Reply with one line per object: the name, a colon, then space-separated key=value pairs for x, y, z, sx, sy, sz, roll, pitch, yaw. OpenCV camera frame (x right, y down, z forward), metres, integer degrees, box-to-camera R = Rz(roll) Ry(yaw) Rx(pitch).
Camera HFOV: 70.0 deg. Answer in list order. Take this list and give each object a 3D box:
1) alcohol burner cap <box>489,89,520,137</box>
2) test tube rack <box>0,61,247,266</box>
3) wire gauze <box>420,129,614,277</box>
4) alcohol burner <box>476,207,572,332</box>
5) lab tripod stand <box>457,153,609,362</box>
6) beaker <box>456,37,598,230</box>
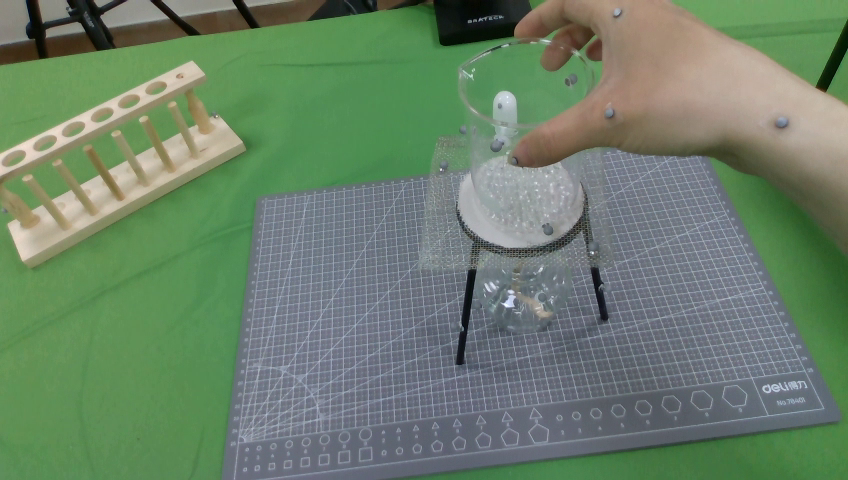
alcohol burner cap: x=0.085 y=-0.136 z=0.637 sx=0.034 sy=0.048 sz=0.033 roll=-4 pitch=53 yaw=6
test tube rack: x=-0.315 y=-0.082 z=0.619 sx=0.242 sy=0.086 sz=0.066 roll=-33 pitch=56 yaw=-18
wire gauze: x=0.062 y=-0.030 z=0.411 sx=0.121 sy=0.011 sz=0.124 roll=0 pitch=57 yaw=10
alcohol burner: x=0.076 y=0.019 z=0.468 sx=0.078 sy=0.120 sz=0.077 roll=-4 pitch=50 yaw=6
lab tripod stand: x=0.073 y=0.015 z=0.459 sx=0.148 sy=0.133 sz=0.147 roll=-3 pitch=54 yaw=5
beaker: x=0.060 y=-0.060 z=0.372 sx=0.083 sy=0.101 sz=0.074 roll=25 pitch=62 yaw=25
